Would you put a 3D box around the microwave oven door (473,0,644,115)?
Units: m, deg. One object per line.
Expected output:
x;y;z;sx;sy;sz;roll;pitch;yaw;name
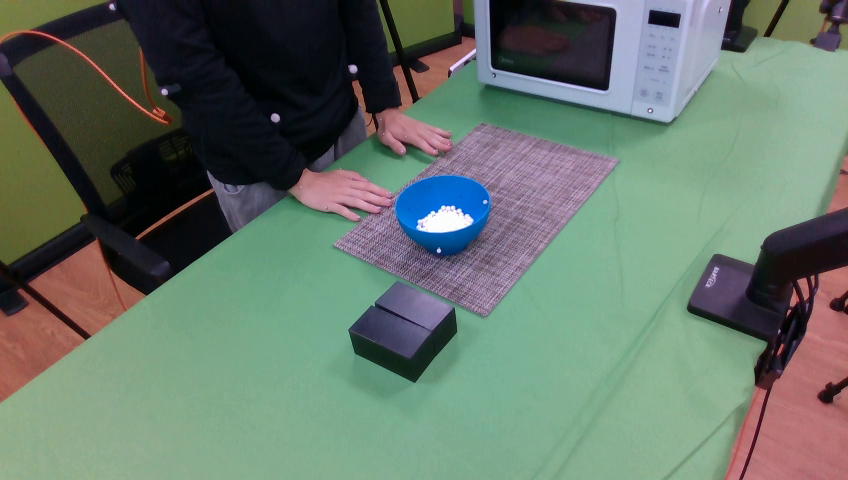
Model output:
0.257;-0.396;1.199;0.353;0.245;0.039;21;48;29;microwave oven door

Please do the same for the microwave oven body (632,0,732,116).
0.377;-0.462;1.267;0.438;0.261;0.327;21;48;30;microwave oven body

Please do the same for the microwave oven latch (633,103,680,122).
0.443;-0.249;1.157;0.078;0.029;0.030;21;48;30;microwave oven latch

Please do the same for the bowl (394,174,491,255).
0.032;-0.030;0.949;0.151;0.077;0.150;-4;40;4;bowl
